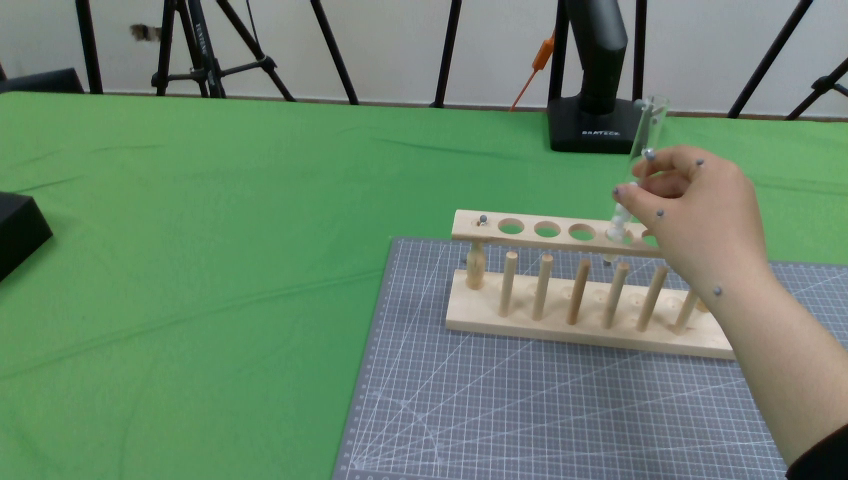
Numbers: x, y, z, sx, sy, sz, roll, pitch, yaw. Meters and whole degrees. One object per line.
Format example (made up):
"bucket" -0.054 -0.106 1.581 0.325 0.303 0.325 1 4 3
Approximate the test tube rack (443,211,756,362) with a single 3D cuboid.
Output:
"test tube rack" 0.140 0.038 0.513 0.242 0.086 0.066 5 41 7

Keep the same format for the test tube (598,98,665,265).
"test tube" 0.156 -0.038 0.463 0.017 0.151 0.017 1 41 -1
